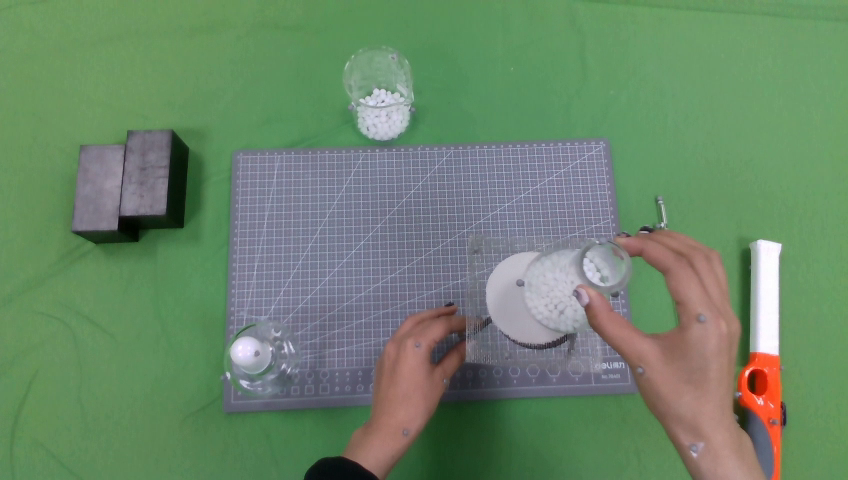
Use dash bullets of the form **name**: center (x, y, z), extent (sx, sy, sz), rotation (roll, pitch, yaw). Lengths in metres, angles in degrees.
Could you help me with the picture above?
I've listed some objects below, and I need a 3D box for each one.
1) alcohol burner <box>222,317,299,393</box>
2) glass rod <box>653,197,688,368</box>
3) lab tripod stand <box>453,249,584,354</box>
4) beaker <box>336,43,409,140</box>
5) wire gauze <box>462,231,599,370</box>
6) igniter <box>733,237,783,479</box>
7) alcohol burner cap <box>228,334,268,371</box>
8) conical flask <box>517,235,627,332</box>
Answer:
- **alcohol burner**: center (-0.169, 0.115, 0.608), extent (0.078, 0.119, 0.077), rotation (0, 77, 0)
- **glass rod**: center (0.280, 0.046, 0.691), extent (0.008, 0.008, 0.198), rotation (-4, 76, -2)
- **lab tripod stand**: center (0.099, 0.071, 0.614), extent (0.148, 0.132, 0.147), rotation (0, 78, 0)
- **beaker**: center (-0.052, -0.162, 0.690), extent (0.084, 0.100, 0.074), rotation (33, 78, 6)
- **wire gauze**: center (0.097, 0.053, 0.550), extent (0.125, 0.011, 0.121), rotation (3, 78, 1)
- **igniter**: center (0.365, 0.131, 0.662), extent (0.057, 0.025, 0.275), rotation (11, 76, -9)
- **alcohol burner cap**: center (-0.168, 0.104, 0.573), extent (0.034, 0.048, 0.033), rotation (1, 69, -3)
- **conical flask**: center (0.119, 0.029, 0.471), extent (0.075, 0.122, 0.075), rotation (1, 77, -2)
